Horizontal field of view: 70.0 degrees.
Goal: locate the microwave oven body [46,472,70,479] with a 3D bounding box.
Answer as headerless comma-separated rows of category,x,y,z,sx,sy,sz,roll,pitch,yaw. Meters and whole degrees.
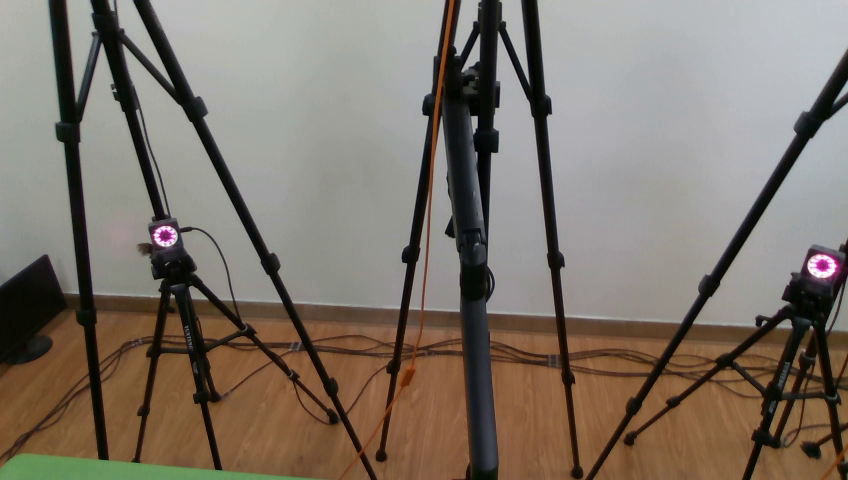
microwave oven body,-0.467,0.532,0.622,0.323,0.262,0.441,19,38,29
